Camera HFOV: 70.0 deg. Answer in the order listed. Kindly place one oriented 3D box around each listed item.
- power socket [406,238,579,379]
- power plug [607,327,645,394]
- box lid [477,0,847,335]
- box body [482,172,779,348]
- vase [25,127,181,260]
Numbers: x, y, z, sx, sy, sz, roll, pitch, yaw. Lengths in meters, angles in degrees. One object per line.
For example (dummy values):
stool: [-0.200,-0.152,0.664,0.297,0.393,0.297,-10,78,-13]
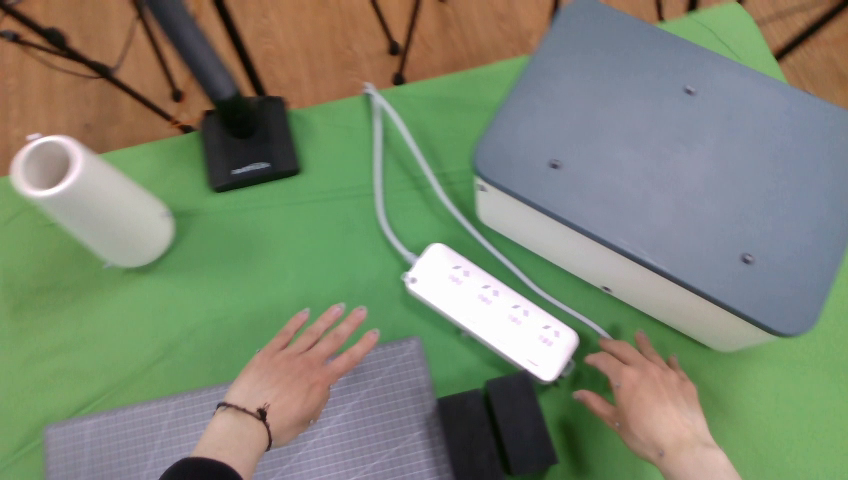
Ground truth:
power socket: [0.082,0.080,0.724,0.225,0.033,0.072,34,74,13]
power plug: [0.229,0.145,0.709,0.035,0.072,0.053,39,100,-26]
box lid: [0.270,-0.093,0.634,0.370,0.015,0.262,30,75,12]
box body: [0.271,-0.068,0.704,0.362,0.161,0.253,30,73,11]
vase: [-0.358,-0.049,0.693,0.098,0.201,0.097,0,68,1]
